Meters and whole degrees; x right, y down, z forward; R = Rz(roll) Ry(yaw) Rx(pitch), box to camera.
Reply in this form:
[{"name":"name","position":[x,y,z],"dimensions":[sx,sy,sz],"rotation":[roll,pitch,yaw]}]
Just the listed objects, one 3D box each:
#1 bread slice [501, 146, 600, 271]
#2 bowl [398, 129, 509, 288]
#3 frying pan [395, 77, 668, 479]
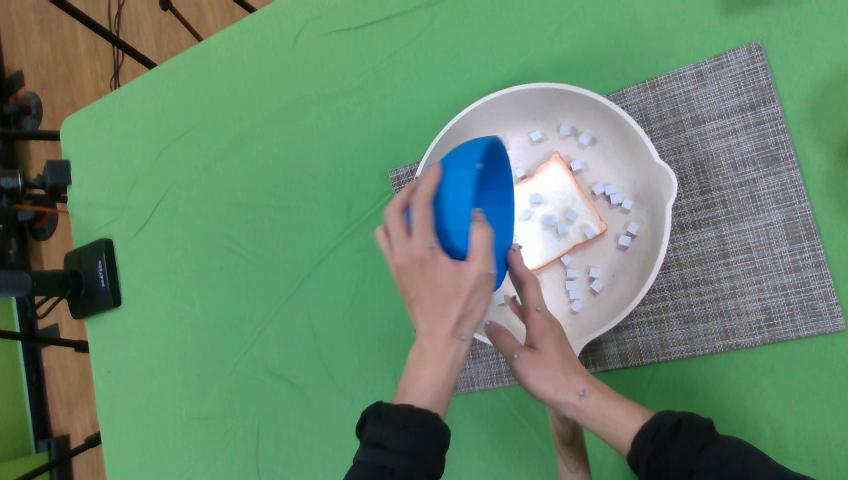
[{"name":"bread slice","position":[0.123,-0.026,0.704],"dimensions":[0.134,0.018,0.106],"rotation":[-37,74,17]},{"name":"bowl","position":[0.026,-0.029,0.588],"dimensions":[0.076,0.152,0.151],"rotation":[1,88,23]},{"name":"frying pan","position":[0.126,0.070,0.655],"dimensions":[0.306,0.103,0.485],"rotation":[-13,74,25]}]
